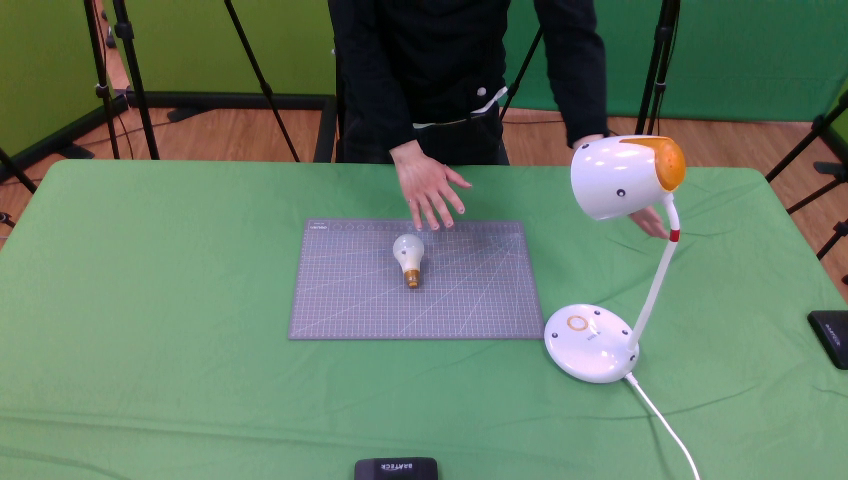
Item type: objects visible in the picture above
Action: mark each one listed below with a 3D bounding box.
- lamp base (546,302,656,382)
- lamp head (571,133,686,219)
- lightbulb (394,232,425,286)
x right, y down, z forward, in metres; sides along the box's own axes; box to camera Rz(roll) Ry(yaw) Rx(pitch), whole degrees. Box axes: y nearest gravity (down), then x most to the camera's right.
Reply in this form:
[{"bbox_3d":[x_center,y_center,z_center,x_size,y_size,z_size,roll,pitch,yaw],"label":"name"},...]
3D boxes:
[{"bbox_3d":[0.303,0.127,0.982,0.160,0.181,0.178,-34,59,-29],"label":"lamp base"},{"bbox_3d":[0.271,-0.085,0.780,0.112,0.113,0.122,-40,22,-33],"label":"lamp head"},{"bbox_3d":[-0.025,0.036,1.134,0.059,0.060,0.107,-4,62,-7],"label":"lightbulb"}]
